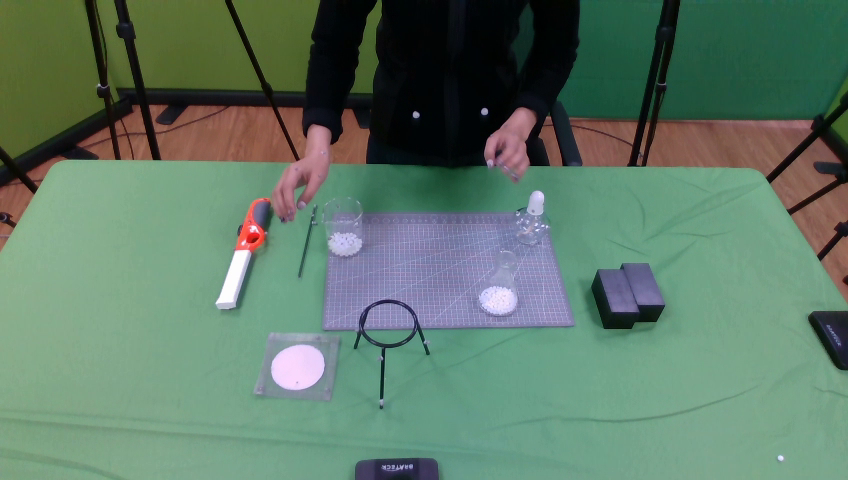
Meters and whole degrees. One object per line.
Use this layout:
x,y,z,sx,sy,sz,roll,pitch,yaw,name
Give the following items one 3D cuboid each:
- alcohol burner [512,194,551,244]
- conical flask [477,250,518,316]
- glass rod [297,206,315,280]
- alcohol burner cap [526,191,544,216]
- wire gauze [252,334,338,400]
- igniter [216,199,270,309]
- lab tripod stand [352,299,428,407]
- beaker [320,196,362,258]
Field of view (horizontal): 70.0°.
0.215,-0.048,1.196,0.078,0.119,0.077,4,46,-4,alcohol burner
0.137,0.072,1.067,0.075,0.122,0.075,2,46,-2,conical flask
-0.231,0.000,1.191,0.008,0.008,0.198,2,46,-1,glass rod
0.216,-0.073,1.170,0.034,0.048,0.033,0,42,0,alcohol burner cap
-0.209,0.204,0.996,0.125,0.011,0.120,3,45,1,wire gauze
-0.342,0.016,1.153,0.057,0.025,0.275,-3,45,7,igniter
-0.056,0.166,0.958,0.148,0.132,0.147,3,44,-2,lab tripod stand
-0.157,-0.020,1.150,0.084,0.101,0.073,-31,54,-28,beaker
